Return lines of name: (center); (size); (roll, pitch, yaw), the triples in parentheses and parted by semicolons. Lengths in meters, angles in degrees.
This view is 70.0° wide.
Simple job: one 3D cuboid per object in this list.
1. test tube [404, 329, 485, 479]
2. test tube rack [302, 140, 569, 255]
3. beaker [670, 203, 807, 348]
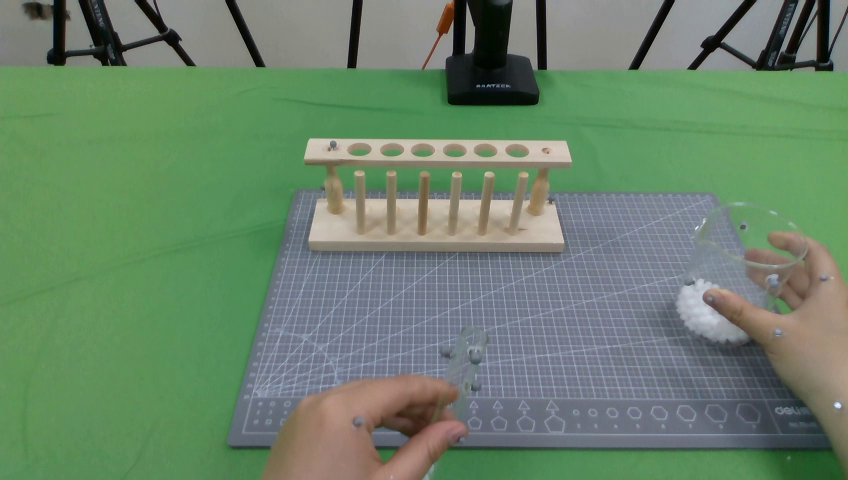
test tube: (0.007, 0.111, 0.349); (0.017, 0.151, 0.017); (12, 32, -7)
test tube rack: (0.010, -0.040, 0.574); (0.242, 0.086, 0.066); (1, 42, -1)
beaker: (0.244, 0.032, 0.490); (0.084, 0.101, 0.073); (0, 42, 1)
